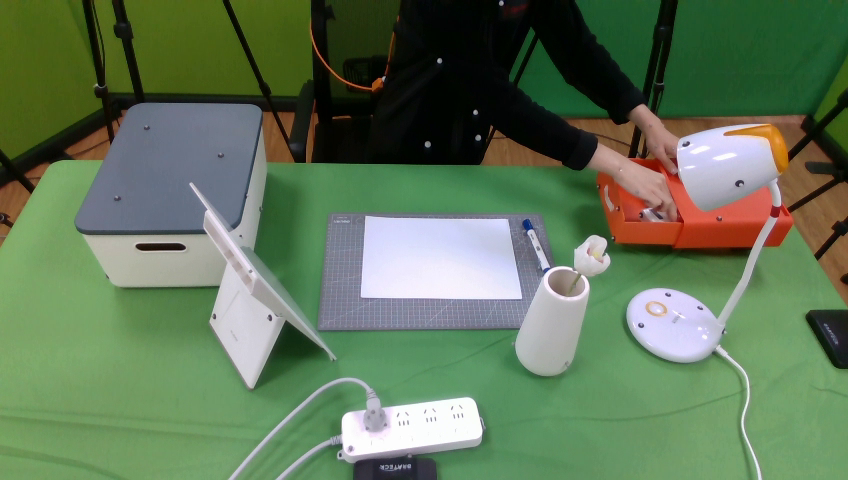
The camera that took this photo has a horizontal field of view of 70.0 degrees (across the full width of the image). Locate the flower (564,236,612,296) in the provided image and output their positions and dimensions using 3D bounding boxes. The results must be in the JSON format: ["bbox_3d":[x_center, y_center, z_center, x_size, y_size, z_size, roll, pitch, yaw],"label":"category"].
[{"bbox_3d":[0.206,0.088,0.892,0.038,0.363,0.044,-17,67,-10],"label":"flower"}]

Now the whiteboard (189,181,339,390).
[{"bbox_3d":[-0.292,0.096,0.929,0.144,0.307,0.216,-37,57,-10],"label":"whiteboard"}]

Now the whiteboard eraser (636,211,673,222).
[{"bbox_3d":[0.474,-0.023,1.205,0.113,0.042,0.055,13,29,-33],"label":"whiteboard eraser"}]

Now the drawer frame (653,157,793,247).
[{"bbox_3d":[0.578,-0.080,1.215,0.214,0.083,0.200,-1,45,-1],"label":"drawer frame"}]

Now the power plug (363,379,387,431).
[{"bbox_3d":[-0.072,0.252,0.910,0.035,0.053,0.072,3,44,-1],"label":"power plug"}]

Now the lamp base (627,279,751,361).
[{"bbox_3d":[0.460,0.100,1.027,0.178,0.181,0.160,27,51,17],"label":"lamp base"}]

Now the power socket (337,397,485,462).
[{"bbox_3d":[-0.018,0.285,0.915,0.227,0.033,0.071,-5,46,-8],"label":"power socket"}]

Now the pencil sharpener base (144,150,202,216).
[{"bbox_3d":[-0.493,-0.113,1.199,0.061,0.107,0.076,15,46,12],"label":"pencil sharpener base"}]

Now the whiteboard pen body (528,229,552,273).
[{"bbox_3d":[0.224,0.013,1.197,0.017,0.017,0.140,-5,45,-9],"label":"whiteboard pen body"}]

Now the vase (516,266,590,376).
[{"bbox_3d":[0.208,0.132,0.964,0.098,0.201,0.097,3,46,-3],"label":"vase"}]

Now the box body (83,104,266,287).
[{"bbox_3d":[-0.447,-0.088,1.150,0.254,0.161,0.361,-1,46,-5],"label":"box body"}]

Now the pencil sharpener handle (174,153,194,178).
[{"bbox_3d":[-0.479,-0.156,1.225,0.036,0.068,0.030,24,47,2],"label":"pencil sharpener handle"}]

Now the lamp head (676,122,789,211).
[{"bbox_3d":[0.423,-0.104,0.819,0.122,0.113,0.112,-13,33,40],"label":"lamp head"}]

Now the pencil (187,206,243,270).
[{"bbox_3d":[-0.401,-0.008,1.176,0.012,0.012,0.193,15,44,10],"label":"pencil"}]

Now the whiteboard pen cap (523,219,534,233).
[{"bbox_3d":[0.214,-0.027,1.239,0.018,0.018,0.033,-5,46,-9],"label":"whiteboard pen cap"}]

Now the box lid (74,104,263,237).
[{"bbox_3d":[-0.443,-0.139,1.095,0.263,0.015,0.369,-1,45,-5],"label":"box lid"}]

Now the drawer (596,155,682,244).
[{"bbox_3d":[0.468,-0.081,1.211,0.212,0.073,0.193,2,45,-3],"label":"drawer"}]
